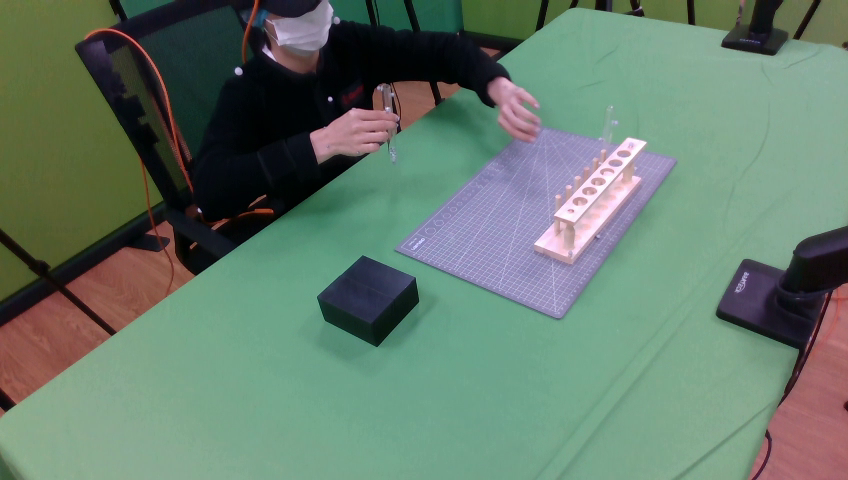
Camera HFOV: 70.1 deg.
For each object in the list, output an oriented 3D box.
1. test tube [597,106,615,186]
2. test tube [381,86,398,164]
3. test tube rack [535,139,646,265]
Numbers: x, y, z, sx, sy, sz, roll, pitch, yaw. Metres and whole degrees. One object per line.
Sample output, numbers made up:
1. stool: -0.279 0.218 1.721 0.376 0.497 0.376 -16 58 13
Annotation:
1. test tube: 0.295 -0.150 0.984 0.017 0.151 0.017 -4 41 4
2. test tube: -0.059 -0.195 1.042 0.017 0.151 0.017 -2 43 3
3. test tube rack: 0.269 -0.071 0.964 0.066 0.085 0.243 23 49 32
